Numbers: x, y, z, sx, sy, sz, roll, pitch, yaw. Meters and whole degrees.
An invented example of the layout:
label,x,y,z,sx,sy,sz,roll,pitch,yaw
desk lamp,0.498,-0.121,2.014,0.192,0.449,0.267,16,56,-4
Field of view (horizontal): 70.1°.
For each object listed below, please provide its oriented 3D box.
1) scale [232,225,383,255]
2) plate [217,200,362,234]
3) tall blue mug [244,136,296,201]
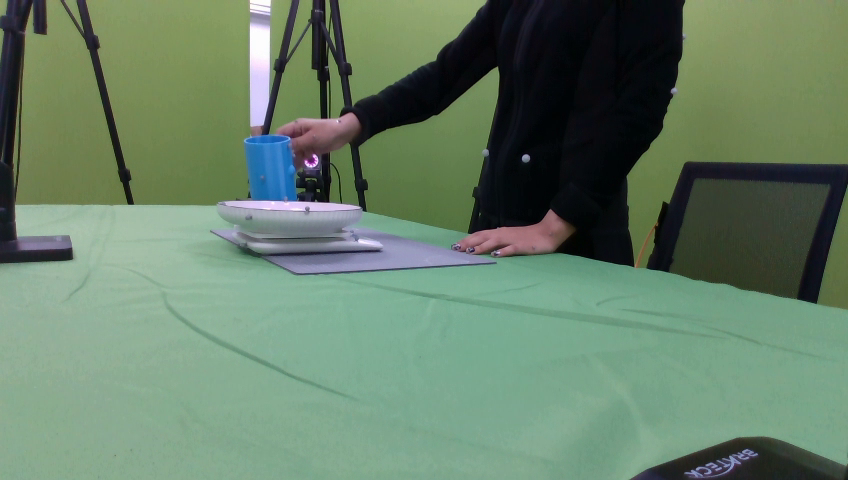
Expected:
label,x,y,z,sx,sy,sz,roll,pitch,yaw
scale,-0.177,-0.004,0.920,0.202,0.031,0.148,-1,9,-30
plate,-0.196,-0.034,0.894,0.209,0.038,0.209,2,7,0
tall blue mug,-0.267,-0.123,1.056,0.078,0.108,0.107,-7,21,-13
